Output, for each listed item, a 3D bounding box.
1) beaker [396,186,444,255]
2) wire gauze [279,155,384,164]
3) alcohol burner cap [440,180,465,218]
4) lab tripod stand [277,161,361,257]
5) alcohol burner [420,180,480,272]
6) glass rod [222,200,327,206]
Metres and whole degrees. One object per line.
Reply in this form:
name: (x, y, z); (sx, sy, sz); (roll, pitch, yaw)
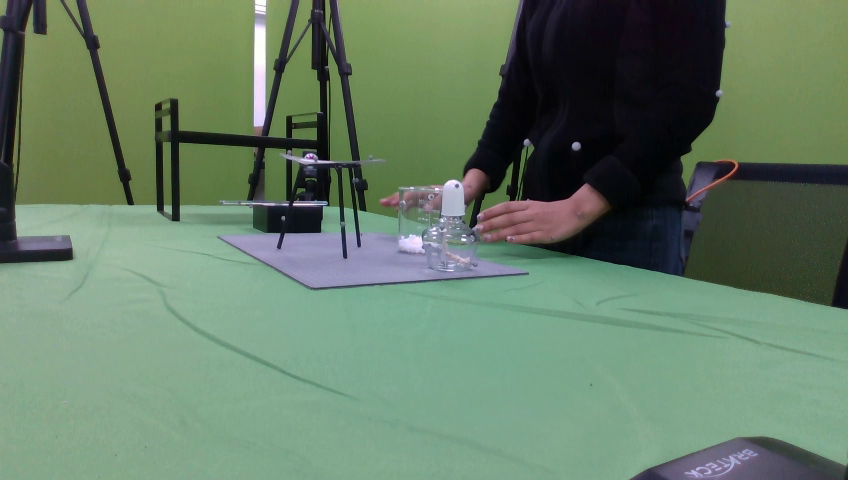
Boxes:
beaker: (-0.003, -0.030, 0.921); (0.083, 0.100, 0.074); (8, 9, 31)
wire gauze: (-0.134, -0.114, 0.875); (0.122, 0.011, 0.124); (-1, 9, -30)
alcohol burner cap: (0.038, -0.054, 0.781); (0.034, 0.048, 0.034); (0, 13, 0)
lab tripod stand: (-0.143, -0.049, 0.884); (0.148, 0.131, 0.148); (1, 9, 0)
alcohol burner: (0.035, -0.018, 0.785); (0.078, 0.119, 0.078); (4, 6, 0)
glass rod: (-0.276, -0.069, 1.134); (0.201, 0.008, 0.008); (-1, 8, -33)
